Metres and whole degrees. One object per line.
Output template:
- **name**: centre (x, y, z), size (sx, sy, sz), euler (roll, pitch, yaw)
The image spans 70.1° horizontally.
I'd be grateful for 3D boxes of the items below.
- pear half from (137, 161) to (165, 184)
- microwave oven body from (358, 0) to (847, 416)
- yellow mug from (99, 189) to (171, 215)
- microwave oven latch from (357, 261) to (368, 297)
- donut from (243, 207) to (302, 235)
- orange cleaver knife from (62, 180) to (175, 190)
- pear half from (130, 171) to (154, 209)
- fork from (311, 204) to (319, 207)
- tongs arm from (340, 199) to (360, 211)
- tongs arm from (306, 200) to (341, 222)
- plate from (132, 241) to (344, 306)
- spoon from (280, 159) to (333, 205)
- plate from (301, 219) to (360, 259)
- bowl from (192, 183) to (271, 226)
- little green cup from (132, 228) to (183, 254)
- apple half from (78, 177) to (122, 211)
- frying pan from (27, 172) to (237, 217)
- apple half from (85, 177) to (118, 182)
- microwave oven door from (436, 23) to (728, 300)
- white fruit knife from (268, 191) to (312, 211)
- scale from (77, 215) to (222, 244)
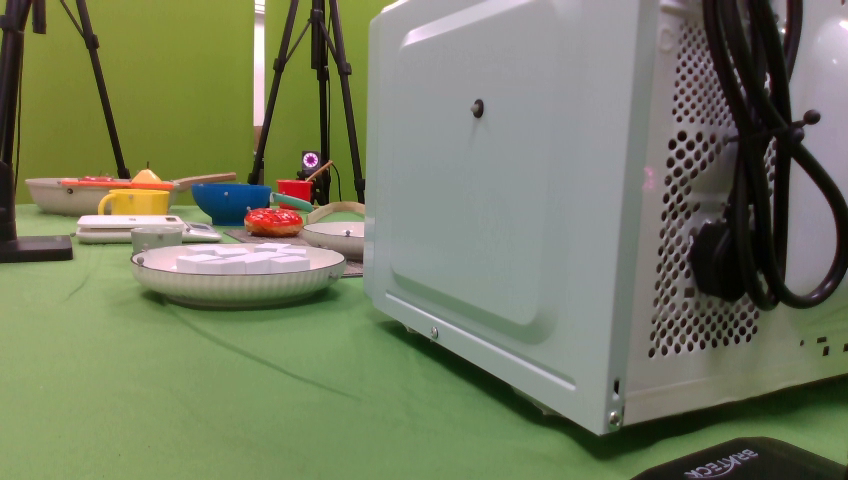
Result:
- **pear half**: centre (-0.604, -0.120, 1.354), size (0.056, 0.110, 0.076), euler (3, 11, 7)
- **microwave oven body**: centre (0.211, -0.047, 0.474), size (0.444, 0.260, 0.324), euler (-1, 7, -28)
- **yellow mug**: centre (-0.518, -0.055, 1.080), size (0.099, 0.064, 0.131), euler (7, 10, 26)
- **microwave oven latch**: centre (-0.019, 0.033, 0.531), size (0.079, 0.029, 0.030), euler (-1, 7, -27)
- **donut**: centre (-0.261, -0.032, 1.043), size (0.099, 0.048, 0.099), euler (4, 9, 0)
- **orange cleaver knife**: centre (-0.600, -0.110, 1.193), size (0.212, 0.012, 0.077), euler (1, 8, -13)
- **pear half**: centre (-0.640, -0.113, 1.361), size (0.031, 0.088, 0.070), euler (5, 10, 5)
- **fork**: centre (-0.356, -0.105, 1.526), size (0.208, 0.018, 0.028), euler (16, -6, -41)
- **tongs arm**: centre (-0.149, -0.070, 1.429), size (0.051, 0.026, 0.383), euler (-4, 9, -15)
- **tongs arm**: centre (-0.234, -0.068, 1.414), size (0.028, 0.028, 0.387), euler (-5, 8, 1)
- **plate**: centre (-0.187, 0.033, 0.625), size (0.208, 0.039, 0.207), euler (2, 7, 0)
- **spoon**: centre (-0.316, -0.159, 1.640), size (0.194, 0.022, 0.041), euler (-50, 32, -20)
- **plate**: centre (-0.077, -0.002, 0.893), size (0.209, 0.038, 0.209), euler (3, 8, 0)
- **bowl**: centre (-0.382, -0.071, 1.202), size (0.151, 0.077, 0.151), euler (3, 7, 0)
- **little green cup**: centre (-0.342, 0.006, 0.779), size (0.061, 0.038, 0.061), euler (2, 8, 0)
- **apple half**: centre (-0.698, -0.099, 1.298), size (0.081, 0.074, 0.053), euler (-9, 9, -40)
- **frying pan**: centre (-0.624, -0.118, 1.387), size (0.305, 0.102, 0.490), euler (8, 17, 32)
- **apple half**: centre (-0.673, -0.096, 1.269), size (0.082, 0.081, 0.032), euler (-4, 6, -40)
- **microwave oven door**: centre (0.180, -0.072, 0.621), size (0.358, 0.243, 0.039), euler (-2, 9, -29)
- **white fruit knife**: centre (-0.364, -0.105, 1.464), size (0.208, 0.027, 0.016), euler (15, 0, -34)
- **scale**: centre (-0.434, -0.019, 0.963), size (0.202, 0.031, 0.148), euler (-1, 9, -27)
